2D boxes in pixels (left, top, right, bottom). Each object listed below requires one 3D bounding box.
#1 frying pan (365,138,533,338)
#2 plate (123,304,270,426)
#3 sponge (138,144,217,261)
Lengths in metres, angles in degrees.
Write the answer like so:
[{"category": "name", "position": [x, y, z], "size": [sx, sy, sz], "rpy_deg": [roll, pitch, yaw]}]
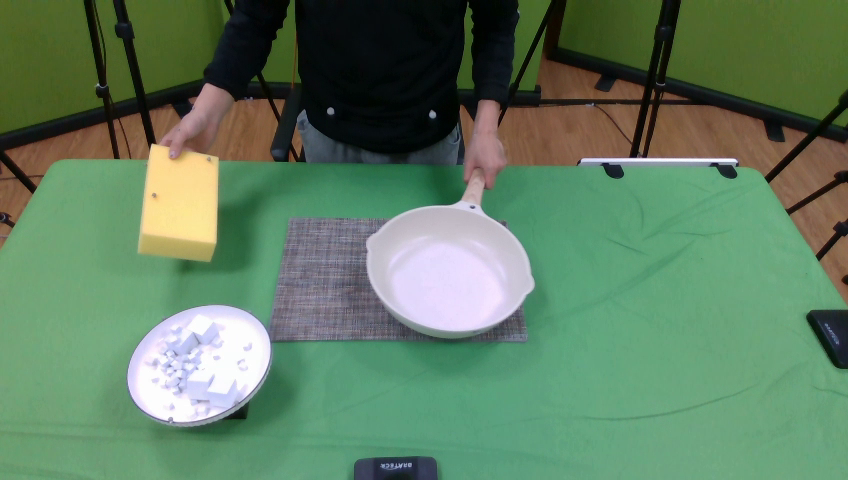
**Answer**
[{"category": "frying pan", "position": [0.070, -0.022, 1.148], "size": [0.306, 0.103, 0.485], "rpy_deg": [17, 56, 6]}, {"category": "plate", "position": [-0.336, 0.189, 0.913], "size": [0.208, 0.039, 0.206], "rpy_deg": [1, 46, -1]}, {"category": "sponge", "position": [-0.436, -0.068, 1.083], "size": [0.118, 0.061, 0.205], "rpy_deg": [8, 50, -28]}]
